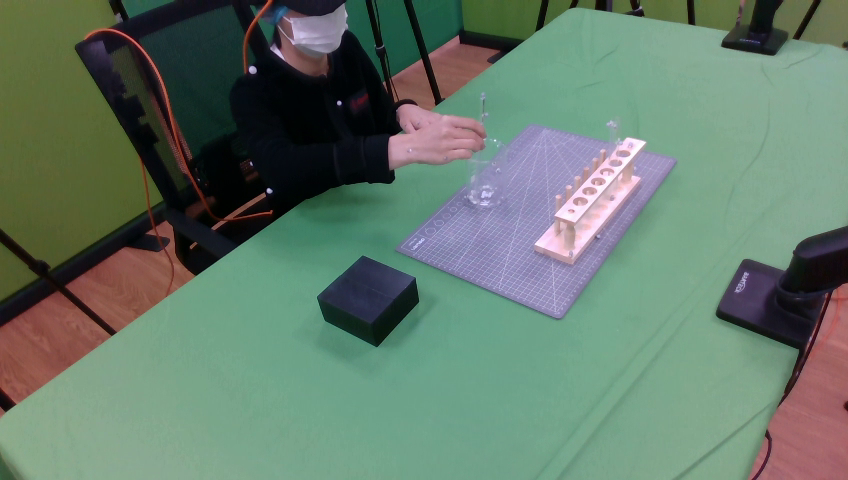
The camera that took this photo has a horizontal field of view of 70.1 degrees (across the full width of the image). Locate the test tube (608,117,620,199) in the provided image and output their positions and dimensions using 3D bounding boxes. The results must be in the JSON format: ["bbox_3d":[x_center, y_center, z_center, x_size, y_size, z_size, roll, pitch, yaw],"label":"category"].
[{"bbox_3d":[0.298,-0.125,0.946,0.017,0.151,0.017,-8,42,8],"label":"test tube"}]

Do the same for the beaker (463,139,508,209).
[{"bbox_3d":[0.108,-0.111,1.027,0.073,0.101,0.084,26,49,33],"label":"beaker"}]

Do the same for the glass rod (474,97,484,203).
[{"bbox_3d":[0.089,-0.140,0.978,0.008,0.200,0.008,0,41,0],"label":"glass rod"}]

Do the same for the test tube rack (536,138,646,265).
[{"bbox_3d":[0.268,-0.071,0.964,0.066,0.085,0.243,23,49,32],"label":"test tube rack"}]
